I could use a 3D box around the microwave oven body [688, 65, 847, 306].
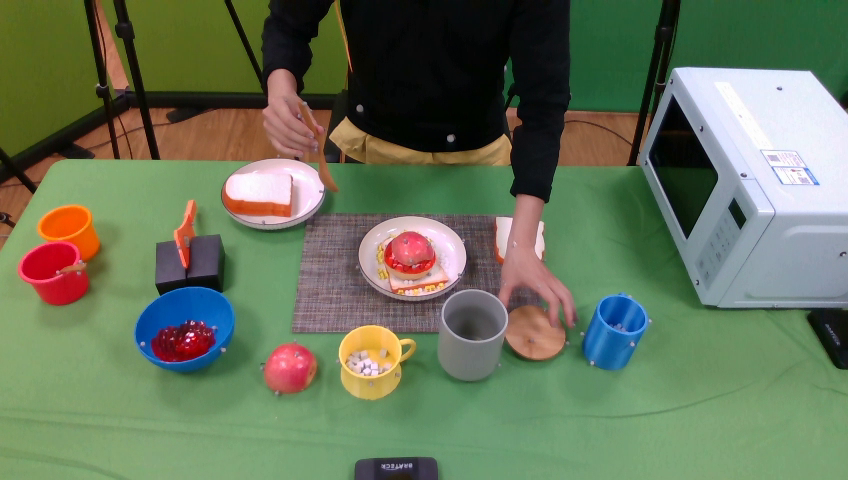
[{"bbox_3d":[0.669,-0.111,1.176,0.326,0.261,0.439,0,46,-3],"label":"microwave oven body"}]

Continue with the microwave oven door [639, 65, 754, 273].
[{"bbox_3d":[0.522,-0.147,1.193,0.039,0.245,0.353,0,47,-3],"label":"microwave oven door"}]

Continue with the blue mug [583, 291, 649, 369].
[{"bbox_3d":[0.324,0.142,1.023,0.082,0.106,0.116,15,47,11],"label":"blue mug"}]

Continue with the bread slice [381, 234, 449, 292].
[{"bbox_3d":[-0.027,0.039,1.140,0.107,0.018,0.133,-11,48,-16],"label":"bread slice"}]

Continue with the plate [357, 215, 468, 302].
[{"bbox_3d":[-0.022,0.037,1.141,0.208,0.039,0.206,2,46,-2],"label":"plate"}]

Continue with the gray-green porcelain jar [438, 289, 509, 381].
[{"bbox_3d":[0.076,0.158,0.978,0.106,0.127,0.105,2,46,-2],"label":"gray-green porcelain jar"}]

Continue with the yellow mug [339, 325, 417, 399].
[{"bbox_3d":[-0.072,0.190,0.978,0.131,0.064,0.099,-17,50,-20],"label":"yellow mug"}]

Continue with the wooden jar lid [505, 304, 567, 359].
[{"bbox_3d":[0.192,0.161,1.051,0.108,0.021,0.107,3,50,-3],"label":"wooden jar lid"}]

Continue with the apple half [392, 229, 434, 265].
[{"bbox_3d":[-0.020,0.005,1.083,0.081,0.033,0.081,6,48,-7],"label":"apple half"}]

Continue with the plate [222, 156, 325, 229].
[{"bbox_3d":[-0.308,-0.095,1.251,0.209,0.038,0.208,2,46,-2],"label":"plate"}]

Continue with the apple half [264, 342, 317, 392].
[{"bbox_3d":[-0.214,0.198,0.970,0.074,0.053,0.080,19,48,10],"label":"apple half"}]

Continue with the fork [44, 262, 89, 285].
[{"bbox_3d":[-0.598,0.054,1.014,0.207,0.019,0.028,-15,29,45],"label":"fork"}]

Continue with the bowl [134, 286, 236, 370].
[{"bbox_3d":[-0.377,0.155,0.981,0.151,0.077,0.150,2,46,-2],"label":"bowl"}]

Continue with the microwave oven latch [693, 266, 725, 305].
[{"bbox_3d":[0.523,0.081,1.115,0.030,0.029,0.078,3,46,0],"label":"microwave oven latch"}]

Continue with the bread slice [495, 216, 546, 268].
[{"bbox_3d":[0.194,0.002,1.205,0.105,0.019,0.131,5,45,2],"label":"bread slice"}]

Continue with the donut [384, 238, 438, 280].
[{"bbox_3d":[-0.025,0.030,1.109,0.099,0.048,0.098,2,46,-2],"label":"donut"}]

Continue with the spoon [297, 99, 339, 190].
[{"bbox_3d":[-0.171,-0.148,0.973,0.041,0.195,0.021,32,60,32],"label":"spoon"}]

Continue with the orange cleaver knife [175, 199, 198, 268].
[{"bbox_3d":[-0.438,-0.017,1.138,0.012,0.077,0.210,-14,27,-6],"label":"orange cleaver knife"}]
